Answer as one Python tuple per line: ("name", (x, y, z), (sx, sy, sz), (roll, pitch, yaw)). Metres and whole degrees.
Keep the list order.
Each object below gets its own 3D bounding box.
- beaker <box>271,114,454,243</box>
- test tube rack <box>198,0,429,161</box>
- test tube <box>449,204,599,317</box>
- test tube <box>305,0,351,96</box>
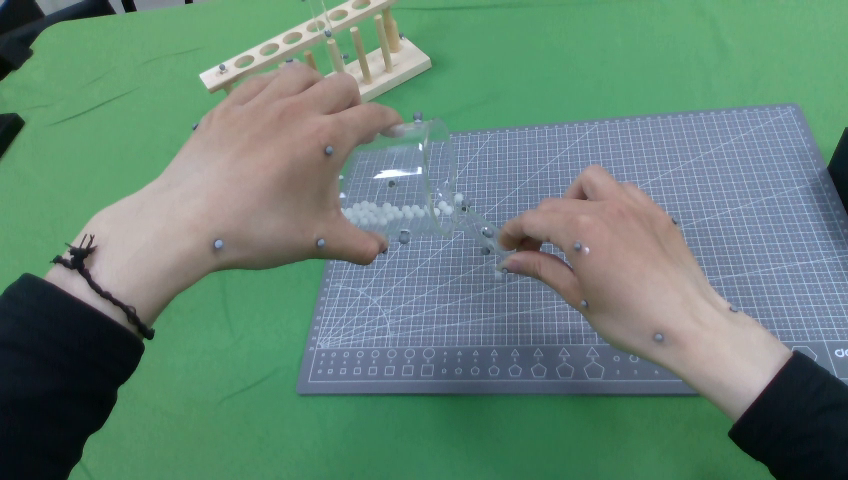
("beaker", (-0.036, -0.035, 0.385), (0.100, 0.084, 0.074), (-4, 84, 16))
("test tube rack", (-0.119, -0.194, 0.689), (0.242, 0.086, 0.066), (-31, 52, -12))
("test tube", (0.075, 0.018, 0.430), (0.017, 0.151, 0.017), (-38, 33, 31))
("test tube", (-0.105, -0.218, 0.648), (0.017, 0.152, 0.017), (-7, 50, 8))
